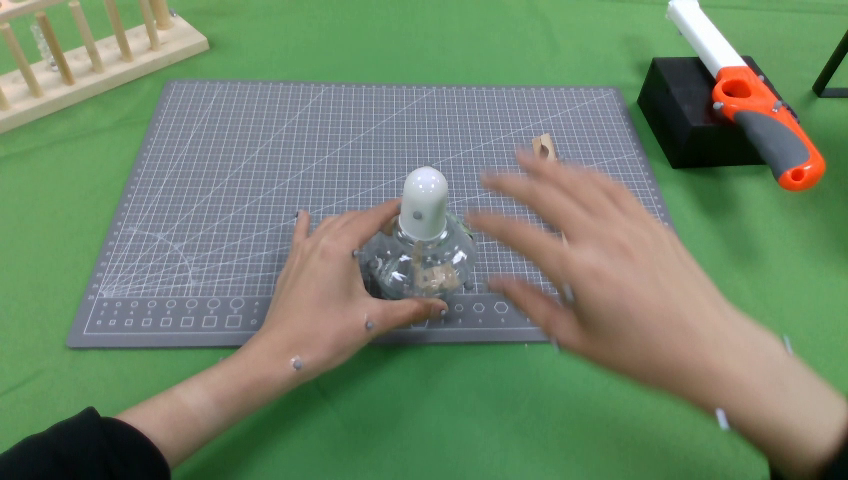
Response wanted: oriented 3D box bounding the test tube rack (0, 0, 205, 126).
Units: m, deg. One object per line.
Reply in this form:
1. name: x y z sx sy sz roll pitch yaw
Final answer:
1. test tube rack: -0.334 -0.188 0.553 0.242 0.086 0.066 -35 61 -28

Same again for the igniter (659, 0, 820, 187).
1. igniter: 0.272 -0.145 0.540 0.057 0.025 0.273 -4 49 -4

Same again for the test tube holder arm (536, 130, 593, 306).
1. test tube holder arm: 0.111 -0.025 0.491 0.013 0.015 0.176 -25 48 22

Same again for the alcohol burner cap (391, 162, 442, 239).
1. alcohol burner cap: -0.004 -0.027 0.382 0.034 0.048 0.033 3 49 -3

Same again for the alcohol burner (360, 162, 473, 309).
1. alcohol burner: -0.004 -0.007 0.406 0.078 0.120 0.077 2 51 -3

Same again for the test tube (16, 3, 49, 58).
1. test tube: -0.351 -0.224 0.518 0.017 0.151 0.017 4 47 -3

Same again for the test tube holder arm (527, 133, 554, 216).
1. test tube holder arm: 0.102 -0.058 0.521 0.010 0.015 0.087 -24 48 23
